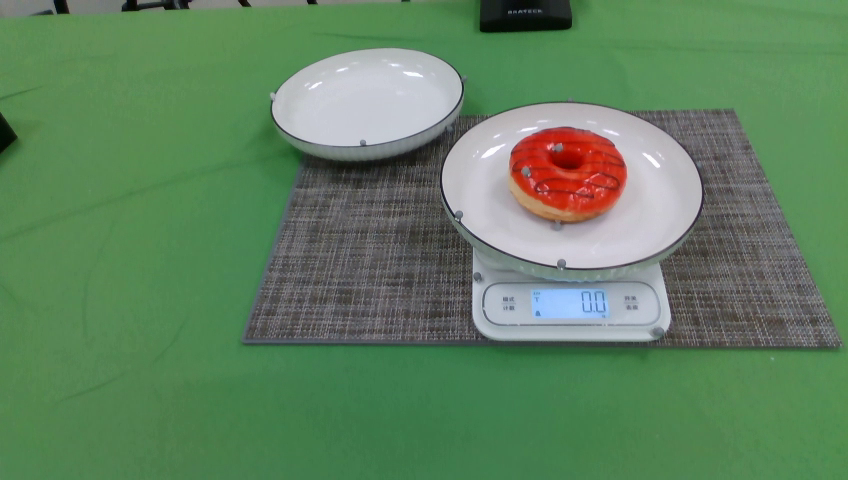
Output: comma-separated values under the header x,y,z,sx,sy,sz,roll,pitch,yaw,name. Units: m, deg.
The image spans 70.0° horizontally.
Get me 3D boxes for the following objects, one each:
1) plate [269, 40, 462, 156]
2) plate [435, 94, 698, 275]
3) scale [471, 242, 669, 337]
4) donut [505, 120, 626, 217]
x,y,z,sx,sy,sz,roll,pitch,yaw,name
-0.062,-0.153,0.662,0.209,0.038,0.207,-3,45,4,plate
0.113,-0.047,0.503,0.207,0.039,0.205,-2,47,3,plate
0.115,-0.008,0.512,0.148,0.032,0.199,-1,48,6,scale
0.115,-0.059,0.498,0.099,0.049,0.098,-1,48,1,donut
